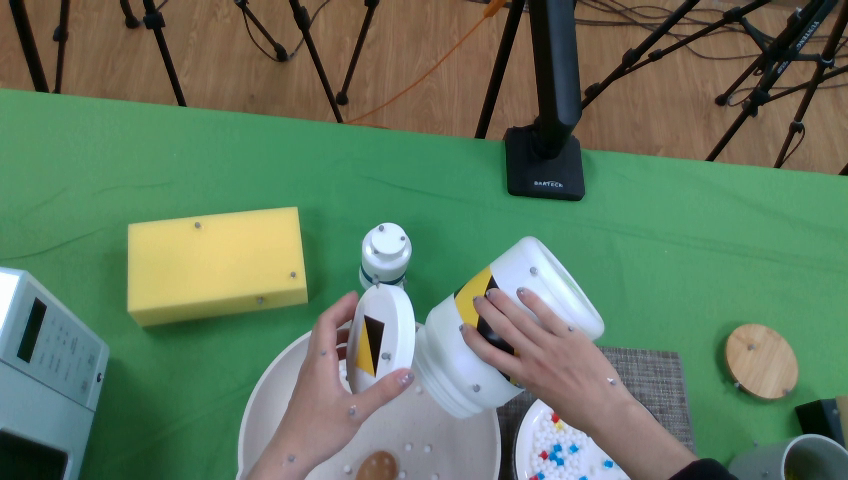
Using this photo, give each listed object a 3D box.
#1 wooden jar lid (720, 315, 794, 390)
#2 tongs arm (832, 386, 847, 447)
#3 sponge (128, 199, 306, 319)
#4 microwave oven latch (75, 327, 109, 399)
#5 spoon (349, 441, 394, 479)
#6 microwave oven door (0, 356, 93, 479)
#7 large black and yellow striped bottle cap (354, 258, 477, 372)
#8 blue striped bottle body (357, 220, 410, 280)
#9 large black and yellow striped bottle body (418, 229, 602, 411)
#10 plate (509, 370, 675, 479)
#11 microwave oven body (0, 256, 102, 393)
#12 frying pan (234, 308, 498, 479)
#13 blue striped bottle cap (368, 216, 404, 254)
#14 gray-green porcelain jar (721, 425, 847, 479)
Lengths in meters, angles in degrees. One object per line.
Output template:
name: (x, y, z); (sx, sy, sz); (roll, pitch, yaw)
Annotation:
wooden jar lid: (0.470, 0.161, 0.861); (0.108, 0.021, 0.107); (3, 66, -7)
tongs arm: (0.564, 0.374, 0.738); (0.051, 0.026, 0.382); (1, 76, -11)
sponge: (-0.262, 0.023, 0.777); (0.207, 0.061, 0.117); (-8, 67, -14)
microwave oven latch: (-0.385, 0.140, 0.694); (0.030, 0.029, 0.078); (5, 65, -7)
spoon: (-0.097, 0.290, 0.660); (0.041, 0.022, 0.193); (44, 40, 9)
microwave oven door: (-0.380, 0.294, 0.510); (0.039, 0.245, 0.353); (5, 64, -7)
large black and yellow striped bottle cap: (-0.007, 0.067, 0.554); (0.115, 0.019, 0.114); (14, 48, -16)
blue striped bottle body: (-0.053, 0.014, 0.783); (0.063, 0.121, 0.062); (4, 65, -8)
large black and yellow striped bottle body: (0.082, 0.091, 0.661); (0.184, 0.131, 0.130); (-39, 73, 13)
plate: (0.205, 0.268, 0.752); (0.209, 0.038, 0.207); (4, 65, -7)
microwave oven body: (-0.524, 0.245, 0.515); (0.327, 0.261, 0.438); (5, 65, -7)
frying pan: (-0.022, 0.308, 0.659); (0.307, 0.103, 0.483); (-17, 61, -16)
blue striped bottle cap: (-0.046, -0.007, 0.736); (0.044, 0.021, 0.044); (3, 61, -6)
gray-green porcelain jar: (0.438, 0.288, 0.737); (0.106, 0.127, 0.105); (4, 65, -8)
